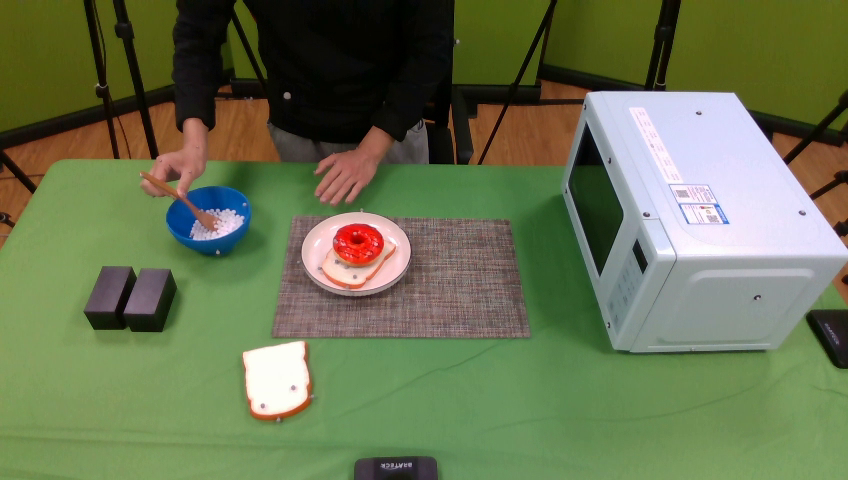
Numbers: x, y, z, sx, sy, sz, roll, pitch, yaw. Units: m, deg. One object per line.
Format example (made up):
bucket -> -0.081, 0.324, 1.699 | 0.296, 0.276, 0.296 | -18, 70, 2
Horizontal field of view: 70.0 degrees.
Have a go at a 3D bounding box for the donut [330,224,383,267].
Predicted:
donut -> -0.125, 0.010, 1.127 | 0.099, 0.048, 0.098 | 3, 45, -3

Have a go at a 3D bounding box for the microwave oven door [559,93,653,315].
microwave oven door -> 0.327, -0.074, 1.123 | 0.039, 0.245, 0.353 | -1, 46, -5

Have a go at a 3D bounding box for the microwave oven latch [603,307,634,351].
microwave oven latch -> 0.332, 0.153, 1.044 | 0.030, 0.029, 0.078 | 0, 45, -4

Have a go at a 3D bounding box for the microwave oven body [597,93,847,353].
microwave oven body -> 0.475, -0.041, 1.109 | 0.326, 0.261, 0.438 | -1, 45, -4

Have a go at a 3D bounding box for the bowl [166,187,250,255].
bowl -> -0.403, -0.024, 1.155 | 0.151, 0.077, 0.150 | 2, 46, -2

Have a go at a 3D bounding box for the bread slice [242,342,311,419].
bread slice -> -0.233, 0.223, 0.970 | 0.105, 0.019, 0.130 | -10, 46, -13

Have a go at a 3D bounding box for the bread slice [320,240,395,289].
bread slice -> -0.129, 0.037, 1.141 | 0.107, 0.018, 0.134 | 19, 47, 14

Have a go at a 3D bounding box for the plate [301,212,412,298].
plate -> -0.126, 0.031, 1.145 | 0.208, 0.039, 0.206 | 2, 45, -2

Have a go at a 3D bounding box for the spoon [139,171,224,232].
spoon -> -0.436, -0.070, 1.101 | 0.021, 0.195, 0.041 | -26, 50, 12
